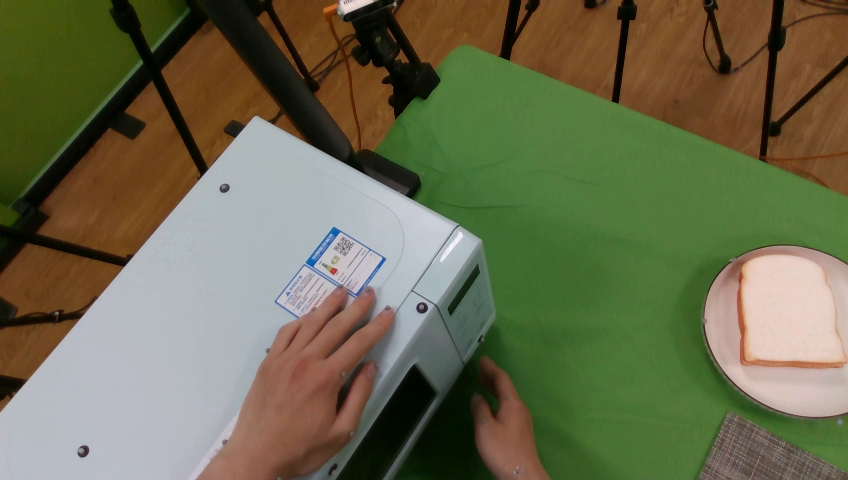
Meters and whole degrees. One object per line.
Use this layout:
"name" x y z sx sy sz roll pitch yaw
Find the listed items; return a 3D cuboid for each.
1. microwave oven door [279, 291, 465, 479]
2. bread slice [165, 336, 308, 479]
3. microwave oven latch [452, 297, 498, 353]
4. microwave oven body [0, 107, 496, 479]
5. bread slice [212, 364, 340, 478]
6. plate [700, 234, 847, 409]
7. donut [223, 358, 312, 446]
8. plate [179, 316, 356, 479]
"microwave oven door" -0.081 0.233 0.610 0.039 0.246 0.355 30 74 21
"bread slice" -0.195 0.170 0.656 0.106 0.018 0.134 40 71 13
"microwave oven latch" 0.062 0.100 0.754 0.030 0.030 0.079 34 77 21
"microwave oven body" -0.174 0.135 0.675 0.324 0.262 0.440 30 75 20
"bread slice" -0.180 0.218 0.722 0.132 0.019 0.104 -25 63 -29
"plate" 0.432 0.094 0.711 0.207 0.039 0.206 -4 66 9
"donut" -0.174 0.181 0.681 0.099 0.048 0.098 1 63 -2
"plate" -0.178 0.192 0.703 0.209 0.038 0.207 -2 69 7
